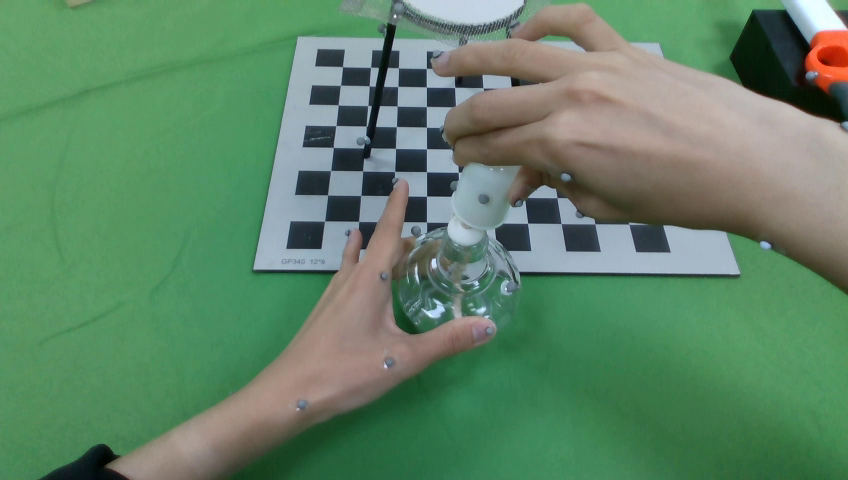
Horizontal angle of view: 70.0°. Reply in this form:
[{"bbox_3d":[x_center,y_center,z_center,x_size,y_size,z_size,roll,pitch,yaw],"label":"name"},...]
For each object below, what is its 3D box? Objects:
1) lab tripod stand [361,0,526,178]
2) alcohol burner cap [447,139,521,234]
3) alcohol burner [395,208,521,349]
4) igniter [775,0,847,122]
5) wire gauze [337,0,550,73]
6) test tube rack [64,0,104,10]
[{"bbox_3d":[0.024,-0.123,0.445,0.148,0.132,0.147,2,54,-3],"label":"lab tripod stand"},{"bbox_3d":[0.031,-0.029,0.305,0.034,0.048,0.033,6,52,-7],"label":"alcohol burner cap"},{"bbox_3d":[0.021,0.018,0.358,0.078,0.120,0.077,1,58,-1],"label":"alcohol burner"},{"bbox_3d":[0.327,-0.154,0.488,0.057,0.025,0.274,-1,53,1],"label":"igniter"},{"bbox_3d":[0.022,-0.161,0.388,0.125,0.011,0.120,15,55,8],"label":"wire gauze"},{"bbox_3d":[-0.264,-0.324,0.614,0.242,0.086,0.066,-28,60,-20],"label":"test tube rack"}]
